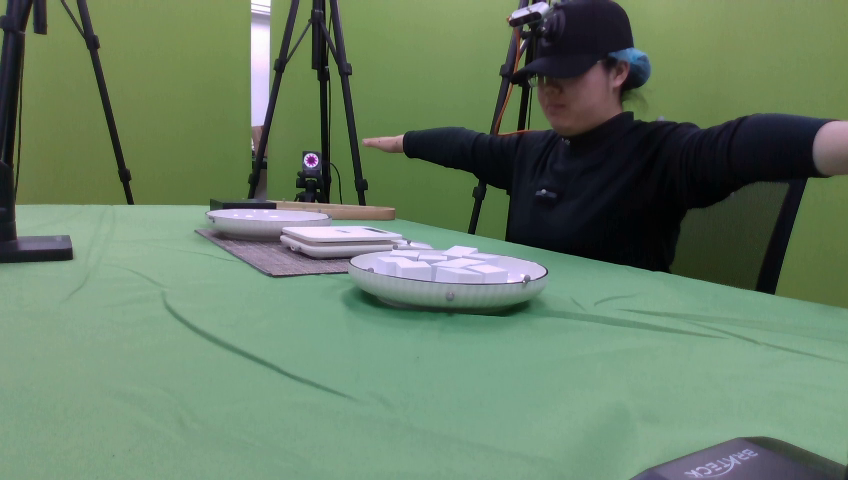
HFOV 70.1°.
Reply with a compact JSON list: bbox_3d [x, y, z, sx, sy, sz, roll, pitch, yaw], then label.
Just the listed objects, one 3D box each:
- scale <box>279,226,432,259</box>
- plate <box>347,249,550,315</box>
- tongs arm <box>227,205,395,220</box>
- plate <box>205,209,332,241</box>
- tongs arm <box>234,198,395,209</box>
[{"bbox_3d":[-0.100,0.001,0.899,0.202,0.031,0.148,-1,9,-31],"label":"scale"},{"bbox_3d":[0.025,0.042,0.627,0.209,0.038,0.209,2,7,0],"label":"plate"},{"bbox_3d":[-0.247,-0.063,1.381,0.389,0.028,0.028,0,4,-21],"label":"tongs arm"},{"bbox_3d":[-0.262,-0.026,1.030,0.208,0.039,0.207,3,7,0],"label":"plate"},{"bbox_3d":[-0.263,-0.077,1.460,0.386,0.026,0.050,3,7,-8],"label":"tongs arm"}]
